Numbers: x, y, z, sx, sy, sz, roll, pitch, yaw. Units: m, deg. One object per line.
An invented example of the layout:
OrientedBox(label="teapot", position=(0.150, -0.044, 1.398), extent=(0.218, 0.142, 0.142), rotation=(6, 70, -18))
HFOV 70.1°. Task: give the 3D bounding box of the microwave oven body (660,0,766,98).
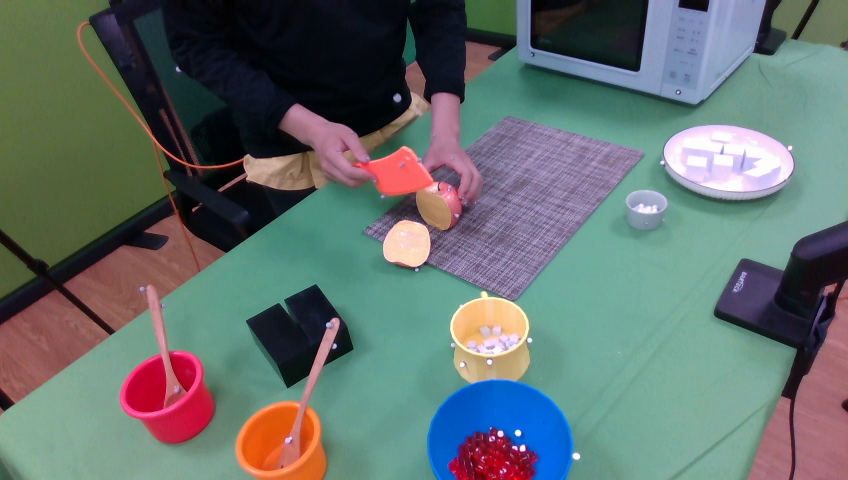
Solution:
OrientedBox(label="microwave oven body", position=(0.473, -0.514, 1.317), extent=(0.438, 0.261, 0.327), rotation=(26, 51, 34))

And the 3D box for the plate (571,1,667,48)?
OrientedBox(label="plate", position=(0.438, -0.484, 1.369), extent=(0.209, 0.038, 0.208), rotation=(-4, 42, 4))

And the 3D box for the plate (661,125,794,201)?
OrientedBox(label="plate", position=(0.514, -0.128, 1.035), extent=(0.207, 0.039, 0.206), rotation=(-4, 40, 4))

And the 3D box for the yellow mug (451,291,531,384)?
OrientedBox(label="yellow mug", position=(0.085, 0.120, 0.786), extent=(0.100, 0.064, 0.130), rotation=(-7, 39, 1))

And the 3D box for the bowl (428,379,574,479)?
OrientedBox(label="bowl", position=(0.082, 0.233, 0.644), extent=(0.151, 0.077, 0.150), rotation=(-4, 40, 4))

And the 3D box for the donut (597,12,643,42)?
OrientedBox(label="donut", position=(0.437, -0.476, 1.347), extent=(0.099, 0.048, 0.098), rotation=(-14, 28, 8))

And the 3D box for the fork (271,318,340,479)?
OrientedBox(label="fork", position=(-0.132, 0.186, 0.676), extent=(0.028, 0.019, 0.207), rotation=(18, 90, 28))

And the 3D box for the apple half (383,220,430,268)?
OrientedBox(label="apple half", position=(-0.022, 0.009, 0.948), extent=(0.081, 0.033, 0.081), rotation=(-4, 72, 13))

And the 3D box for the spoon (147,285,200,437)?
OrientedBox(label="spoon", position=(-0.318, 0.148, 0.754), extent=(0.042, 0.021, 0.193), rotation=(-14, 85, -10))

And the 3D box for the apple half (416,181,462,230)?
OrientedBox(label="apple half", position=(0.032, -0.062, 0.997), extent=(0.080, 0.075, 0.053), rotation=(24, 46, 38))

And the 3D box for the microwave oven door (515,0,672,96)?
OrientedBox(label="microwave oven door", position=(0.344, -0.455, 1.259), extent=(0.353, 0.245, 0.039), rotation=(26, 51, 33))

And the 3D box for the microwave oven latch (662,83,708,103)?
OrientedBox(label="microwave oven latch", position=(0.518, -0.296, 1.204), extent=(0.078, 0.029, 0.030), rotation=(27, 52, 35))

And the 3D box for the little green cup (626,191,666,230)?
OrientedBox(label="little green cup", position=(0.352, -0.046, 0.963), extent=(0.061, 0.039, 0.061), rotation=(-4, 40, 4))

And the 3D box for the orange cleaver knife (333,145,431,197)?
OrientedBox(label="orange cleaver knife", position=(-0.068, -0.100, 0.928), extent=(0.209, 0.077, 0.012), rotation=(-1, 33, 48))
